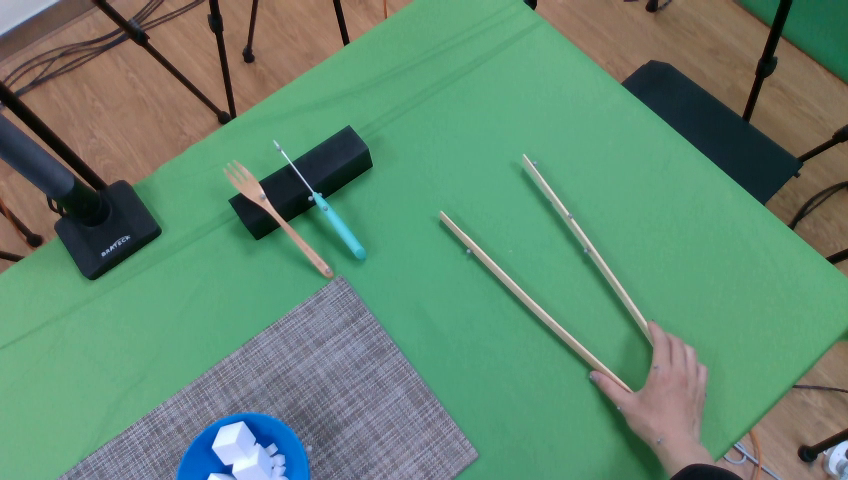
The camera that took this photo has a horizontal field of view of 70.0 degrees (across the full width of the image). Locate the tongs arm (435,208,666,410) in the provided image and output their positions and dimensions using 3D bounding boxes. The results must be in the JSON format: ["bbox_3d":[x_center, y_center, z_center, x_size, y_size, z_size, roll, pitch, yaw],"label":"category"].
[{"bbox_3d":[0.151,0.085,0.794,0.028,0.028,0.385,-41,72,-17],"label":"tongs arm"}]

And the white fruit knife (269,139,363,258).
[{"bbox_3d":[-0.152,-0.059,0.838,0.016,0.027,0.207,-38,87,-6],"label":"white fruit knife"}]

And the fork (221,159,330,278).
[{"bbox_3d":[-0.200,-0.027,0.828,0.028,0.018,0.207,-43,92,-18],"label":"fork"}]

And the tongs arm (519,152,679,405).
[{"bbox_3d":[0.217,0.040,0.807,0.051,0.027,0.382,-30,70,-9],"label":"tongs arm"}]

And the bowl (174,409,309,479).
[{"bbox_3d":[-0.201,0.278,0.702,0.151,0.077,0.150,-1,67,2],"label":"bowl"}]
